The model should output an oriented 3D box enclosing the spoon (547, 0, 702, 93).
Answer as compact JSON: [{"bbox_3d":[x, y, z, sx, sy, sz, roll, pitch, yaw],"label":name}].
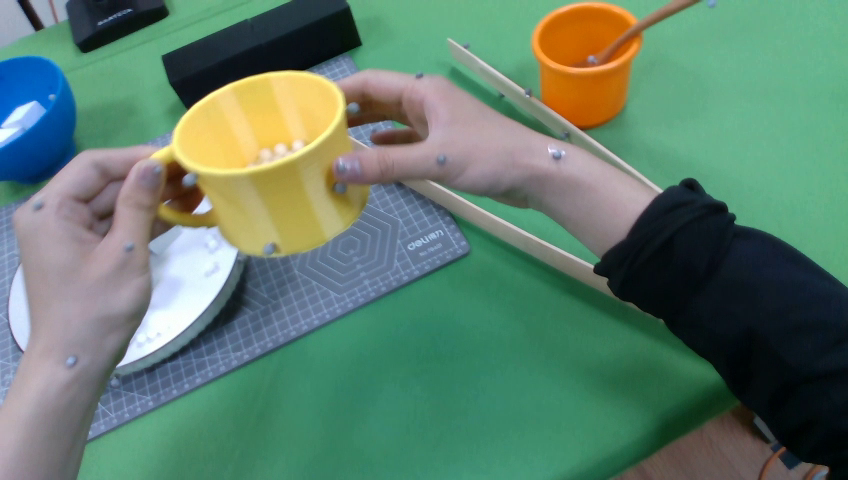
[{"bbox_3d":[0.175,-0.170,0.501,0.022,0.193,0.041,37,59,-17],"label":"spoon"}]

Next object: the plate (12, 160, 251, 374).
[{"bbox_3d":[-0.245,0.021,0.526,0.207,0.039,0.205,-5,56,8],"label":"plate"}]

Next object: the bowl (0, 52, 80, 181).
[{"bbox_3d":[-0.418,-0.114,0.629,0.151,0.077,0.150,-6,56,9],"label":"bowl"}]

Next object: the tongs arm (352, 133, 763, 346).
[{"bbox_3d":[0.072,-0.016,0.493,0.384,0.028,0.028,30,63,25],"label":"tongs arm"}]

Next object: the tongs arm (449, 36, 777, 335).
[{"bbox_3d":[0.130,-0.068,0.513,0.051,0.027,0.381,-37,60,-14],"label":"tongs arm"}]

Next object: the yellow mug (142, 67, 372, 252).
[{"bbox_3d":[-0.102,-0.045,0.364,0.131,0.064,0.099,-19,45,-6],"label":"yellow mug"}]
